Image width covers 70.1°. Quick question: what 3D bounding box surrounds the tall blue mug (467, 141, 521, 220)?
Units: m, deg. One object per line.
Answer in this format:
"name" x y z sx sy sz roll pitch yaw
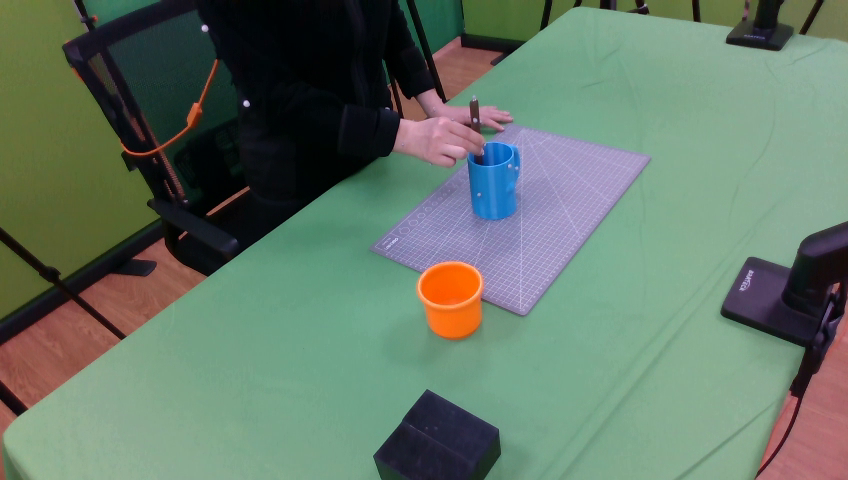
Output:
"tall blue mug" 0.119 -0.109 1.020 0.077 0.108 0.107 3 42 16

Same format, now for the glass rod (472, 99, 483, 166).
"glass rod" 0.089 -0.149 0.973 0.008 0.201 0.008 -5 53 7
